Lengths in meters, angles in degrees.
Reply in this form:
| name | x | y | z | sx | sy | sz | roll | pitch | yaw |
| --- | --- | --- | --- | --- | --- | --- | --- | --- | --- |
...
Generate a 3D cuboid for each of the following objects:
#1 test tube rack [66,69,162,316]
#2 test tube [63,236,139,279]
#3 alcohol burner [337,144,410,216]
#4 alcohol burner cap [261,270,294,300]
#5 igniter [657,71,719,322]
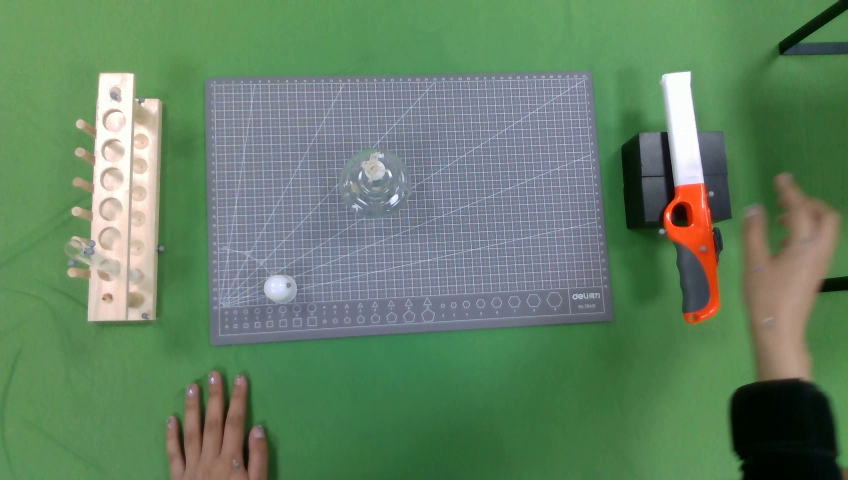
| name | x | y | z | sx | sy | sz | roll | pitch | yaw |
| --- | --- | --- | --- | --- | --- | --- | --- | --- | --- |
| test tube rack | -0.321 | -0.043 | 0.622 | 0.067 | 0.085 | 0.241 | -1 | 84 | -5 |
| test tube | -0.298 | 0.019 | 0.568 | 0.017 | 0.150 | 0.017 | 2 | 78 | -7 |
| alcohol burner | -0.053 | -0.066 | 0.634 | 0.078 | 0.119 | 0.077 | 0 | 84 | -4 |
| alcohol burner cap | -0.158 | 0.047 | 0.647 | 0.034 | 0.048 | 0.034 | 1 | 83 | -6 |
| igniter | 0.286 | -0.050 | 0.663 | 0.057 | 0.025 | 0.275 | -4 | 83 | 5 |
